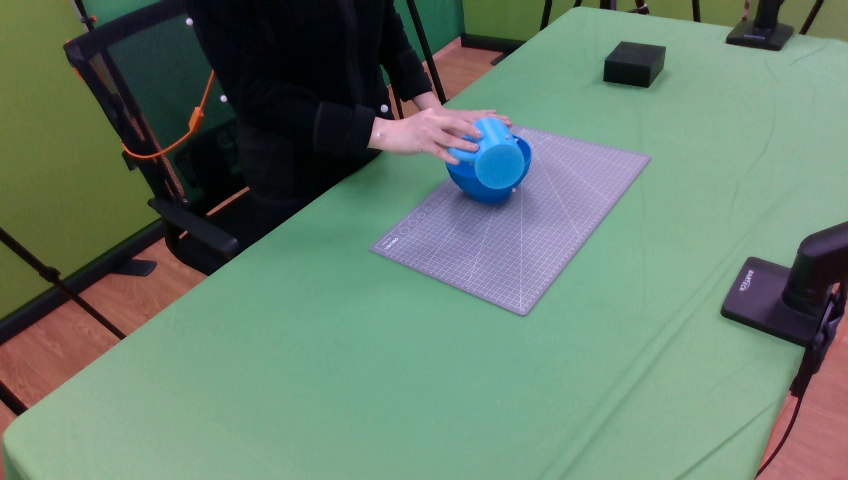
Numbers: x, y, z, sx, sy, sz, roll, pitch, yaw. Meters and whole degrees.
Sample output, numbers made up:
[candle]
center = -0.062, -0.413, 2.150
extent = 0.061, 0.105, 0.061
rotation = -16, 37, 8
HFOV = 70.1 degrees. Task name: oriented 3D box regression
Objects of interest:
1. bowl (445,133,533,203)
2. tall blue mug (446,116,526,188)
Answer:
[bowl]
center = 0.115, -0.118, 1.056
extent = 0.151, 0.077, 0.150
rotation = -6, 40, 5
[tall blue mug]
center = 0.097, -0.146, 0.944
extent = 0.077, 0.108, 0.107
rotation = -49, 26, 22
